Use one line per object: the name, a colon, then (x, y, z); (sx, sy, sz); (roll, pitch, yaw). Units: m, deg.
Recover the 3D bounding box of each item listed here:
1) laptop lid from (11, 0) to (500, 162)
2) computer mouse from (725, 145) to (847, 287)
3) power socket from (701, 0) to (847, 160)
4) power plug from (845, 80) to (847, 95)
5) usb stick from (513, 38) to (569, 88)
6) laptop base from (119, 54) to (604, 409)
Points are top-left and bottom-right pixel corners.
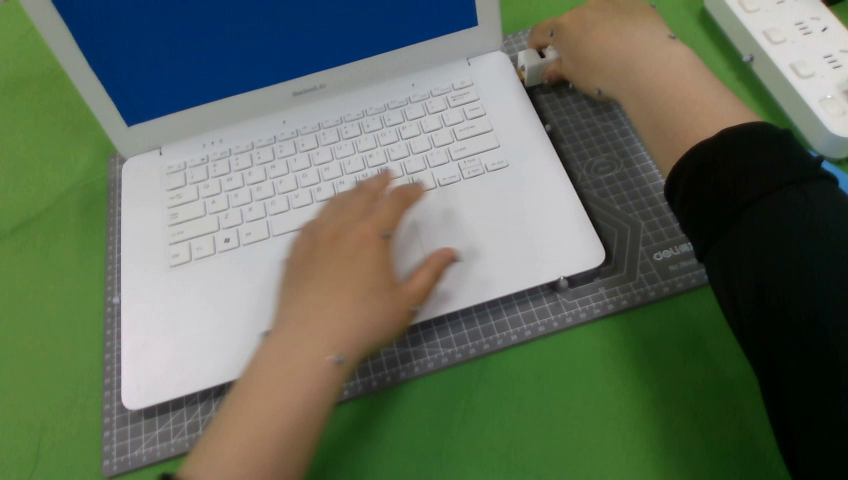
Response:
laptop lid: (-0.121, -0.199, 0.464); (0.357, 0.244, 0.013); (-18, 44, -1)
computer mouse: (0.266, -0.023, 0.419); (0.063, 0.041, 0.116); (-17, 52, 0)
power socket: (0.307, -0.156, 0.499); (0.072, 0.033, 0.224); (-15, 57, 0)
power plug: (0.349, -0.114, 0.442); (0.072, 0.053, 0.035); (-5, 60, 4)
usb stick: (0.094, -0.151, 0.523); (0.059, 0.027, 0.021); (-20, 56, 1)
laptop base: (-0.067, -0.023, 0.484); (0.354, 0.023, 0.233); (-17, 59, -2)
